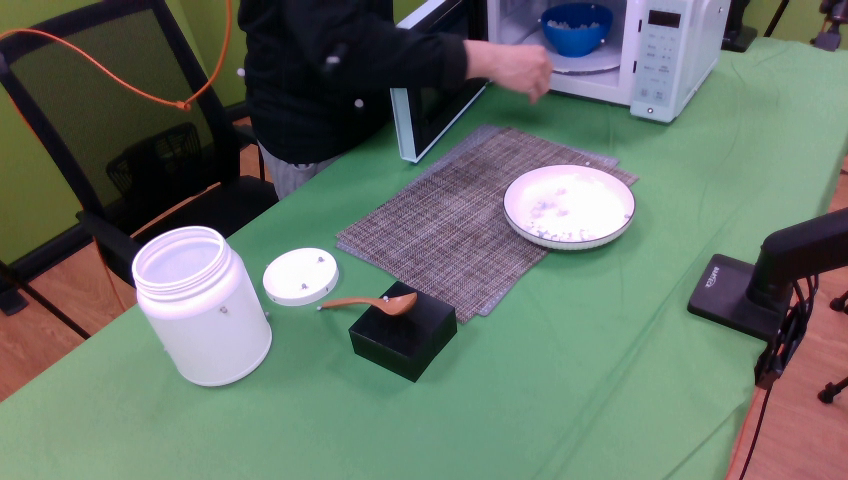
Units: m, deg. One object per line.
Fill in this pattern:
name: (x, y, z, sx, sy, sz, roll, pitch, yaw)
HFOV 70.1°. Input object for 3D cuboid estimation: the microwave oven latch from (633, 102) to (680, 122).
microwave oven latch: (0.443, -0.249, 1.157, 0.078, 0.029, 0.030, 21, 49, 30)

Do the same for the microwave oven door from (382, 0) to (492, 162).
microwave oven door: (0.040, -0.347, 1.173, 0.039, 0.245, 0.356, 15, 45, 25)

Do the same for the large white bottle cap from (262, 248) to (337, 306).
large white bottle cap: (-0.193, 0.056, 0.934, 0.115, 0.018, 0.114, -4, 41, 4)

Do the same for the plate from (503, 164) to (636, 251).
plate: (0.232, -0.050, 0.976, 0.209, 0.038, 0.208, -3, 41, 3)

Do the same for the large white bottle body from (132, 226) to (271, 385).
large white bottle body: (-0.285, 0.084, 0.783, 0.130, 0.185, 0.130, -4, 41, 4)

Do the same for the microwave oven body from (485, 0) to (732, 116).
microwave oven body: (0.377, -0.463, 1.267, 0.438, 0.261, 0.327, 21, 49, 30)

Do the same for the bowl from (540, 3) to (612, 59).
bowl: (0.323, -0.441, 1.296, 0.151, 0.077, 0.150, -4, 42, 4)

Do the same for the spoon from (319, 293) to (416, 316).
spoon: (-0.082, 0.086, 0.826, 0.192, 0.022, 0.041, -3, 37, 41)
